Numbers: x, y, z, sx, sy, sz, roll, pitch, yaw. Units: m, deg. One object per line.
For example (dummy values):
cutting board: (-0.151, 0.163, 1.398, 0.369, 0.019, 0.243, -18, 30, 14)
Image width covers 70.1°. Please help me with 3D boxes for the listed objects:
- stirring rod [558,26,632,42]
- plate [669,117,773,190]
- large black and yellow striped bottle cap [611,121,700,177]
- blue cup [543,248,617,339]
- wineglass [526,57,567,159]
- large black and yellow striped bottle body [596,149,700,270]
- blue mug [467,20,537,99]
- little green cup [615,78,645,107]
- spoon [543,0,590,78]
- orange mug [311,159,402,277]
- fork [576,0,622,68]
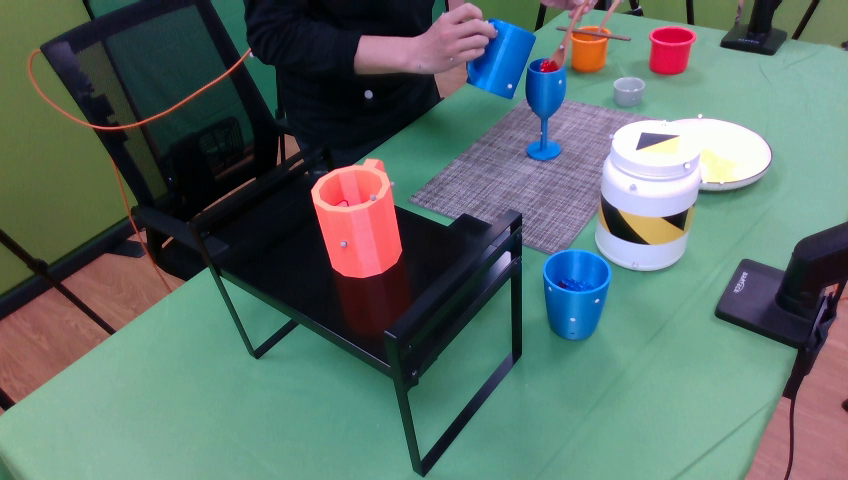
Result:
stirring rod: (0.381, -0.462, 1.356, 0.175, 0.006, 0.014, 22, 48, 30)
plate: (0.495, -0.148, 1.063, 0.209, 0.038, 0.208, -5, 40, 4)
large black and yellow striped bottle cap: (0.315, -0.126, 0.823, 0.115, 0.019, 0.114, -4, 42, 4)
blue cup: (0.199, 0.076, 0.797, 0.092, 0.100, 0.092, -4, 39, 4)
wineglass: (0.221, -0.237, 1.098, 0.074, 0.173, 0.073, -5, 41, 4)
large black and yellow striped bottle body: (0.323, -0.062, 0.877, 0.131, 0.185, 0.130, -5, 40, 4)
blue mug: (0.115, -0.296, 0.980, 0.117, 0.106, 0.081, 4, 23, -43)
little green cup: (0.426, -0.306, 1.257, 0.061, 0.039, 0.061, -4, 40, 4)
spoon: (0.254, -0.362, 1.019, 0.022, 0.193, 0.041, 12, 25, -28)
orange mug: (-0.070, -0.034, 0.694, 0.083, 0.101, 0.126, 5, 46, 16)
fork: (0.409, -0.484, 1.381, 0.028, 0.019, 0.207, 37, 101, 46)
